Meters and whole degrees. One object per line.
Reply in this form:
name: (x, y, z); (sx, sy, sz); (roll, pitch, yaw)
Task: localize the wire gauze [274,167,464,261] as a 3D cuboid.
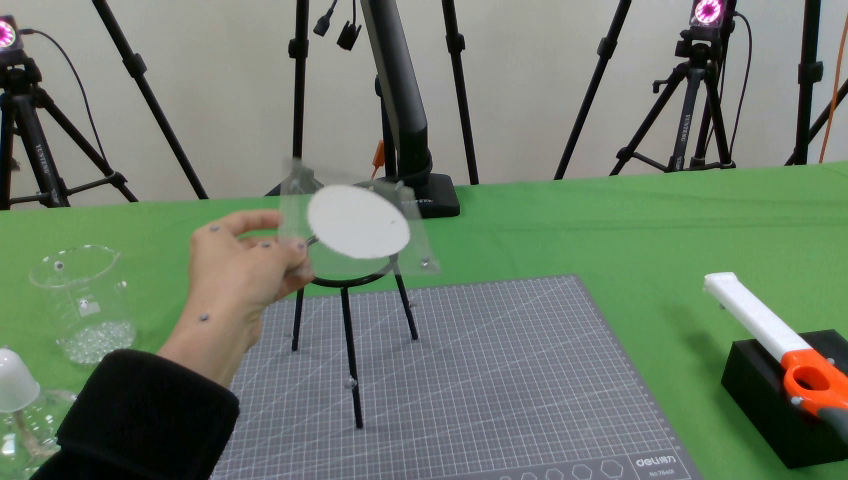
wire gauze: (-0.042, -0.024, 0.475); (0.126, 0.011, 0.120); (-1, 39, -41)

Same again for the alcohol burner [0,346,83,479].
alcohol burner: (-0.311, 0.131, 0.467); (0.078, 0.120, 0.077); (1, 29, 0)

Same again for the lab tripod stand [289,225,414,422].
lab tripod stand: (-0.067, 0.066, 0.547); (0.148, 0.132, 0.147); (1, 32, 0)

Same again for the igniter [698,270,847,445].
igniter: (0.309, 0.102, 0.498); (0.057, 0.025, 0.274); (-5, 28, -5)

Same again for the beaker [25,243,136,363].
beaker: (-0.329, 0.062, 0.596); (0.073, 0.101, 0.084); (25, 39, 35)

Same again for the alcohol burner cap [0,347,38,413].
alcohol burner cap: (-0.313, 0.101, 0.449); (0.034, 0.048, 0.033); (1, 36, 0)
